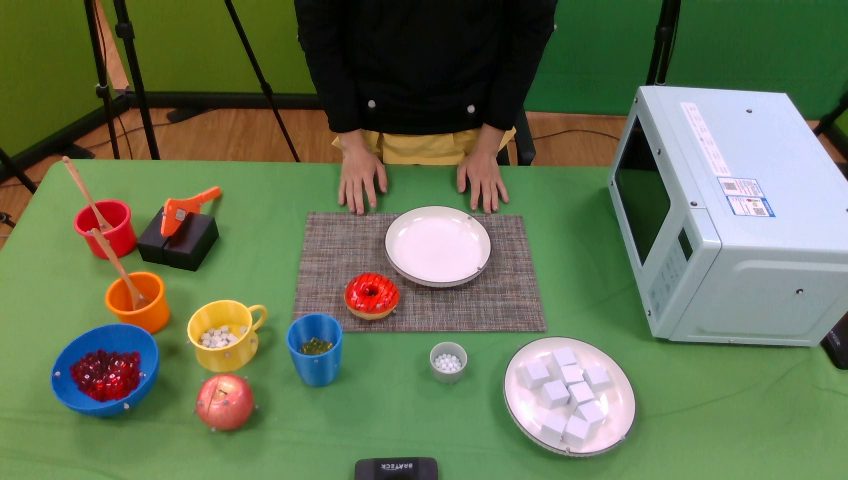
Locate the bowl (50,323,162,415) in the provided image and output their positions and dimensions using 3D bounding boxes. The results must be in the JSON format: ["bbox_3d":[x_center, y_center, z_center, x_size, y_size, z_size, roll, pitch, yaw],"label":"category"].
[{"bbox_3d":[-0.472,0.209,0.924,0.151,0.077,0.150,3,45,-2],"label":"bowl"}]

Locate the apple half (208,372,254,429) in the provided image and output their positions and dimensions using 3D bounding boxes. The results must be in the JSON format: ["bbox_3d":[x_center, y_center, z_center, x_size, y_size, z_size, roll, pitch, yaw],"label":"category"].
[{"bbox_3d":[-0.283,0.244,0.908,0.053,0.075,0.080,7,42,-1],"label":"apple half"}]

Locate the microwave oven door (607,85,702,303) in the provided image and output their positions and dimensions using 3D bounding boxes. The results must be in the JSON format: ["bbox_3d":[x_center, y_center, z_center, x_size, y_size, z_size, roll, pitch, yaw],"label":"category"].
[{"bbox_3d":[0.423,-0.094,1.141,0.039,0.245,0.353,2,46,-1],"label":"microwave oven door"}]

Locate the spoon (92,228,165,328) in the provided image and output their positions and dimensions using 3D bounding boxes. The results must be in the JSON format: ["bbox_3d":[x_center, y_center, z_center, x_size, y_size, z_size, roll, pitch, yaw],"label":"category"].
[{"bbox_3d":[-0.495,0.063,1.014,0.041,0.194,0.021,-34,12,-31],"label":"spoon"}]

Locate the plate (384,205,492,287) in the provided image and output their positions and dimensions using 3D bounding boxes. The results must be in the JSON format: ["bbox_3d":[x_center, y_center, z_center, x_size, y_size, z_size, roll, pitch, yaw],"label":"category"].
[{"bbox_3d":[0.027,0.015,1.169,0.209,0.038,0.208,2,46,-2],"label":"plate"}]

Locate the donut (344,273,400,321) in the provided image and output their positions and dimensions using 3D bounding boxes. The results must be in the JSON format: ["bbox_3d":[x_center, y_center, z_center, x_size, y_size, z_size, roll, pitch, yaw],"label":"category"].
[{"bbox_3d":[-0.092,0.099,1.075,0.099,0.048,0.098,3,44,-2],"label":"donut"}]

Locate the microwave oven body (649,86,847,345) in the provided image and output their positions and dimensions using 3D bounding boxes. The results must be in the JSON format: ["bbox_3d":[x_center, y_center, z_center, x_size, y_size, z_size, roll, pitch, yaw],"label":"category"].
[{"bbox_3d":[0.568,-0.053,1.118,0.326,0.261,0.439,2,45,-1],"label":"microwave oven body"}]

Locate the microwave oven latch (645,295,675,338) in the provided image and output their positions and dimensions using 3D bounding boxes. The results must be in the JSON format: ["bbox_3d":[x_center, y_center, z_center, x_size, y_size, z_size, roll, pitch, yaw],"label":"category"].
[{"bbox_3d":[0.412,0.134,1.061,0.030,0.029,0.078,3,45,0],"label":"microwave oven latch"}]

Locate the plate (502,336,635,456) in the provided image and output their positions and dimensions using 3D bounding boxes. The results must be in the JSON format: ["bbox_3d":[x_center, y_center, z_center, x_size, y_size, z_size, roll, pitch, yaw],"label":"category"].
[{"bbox_3d":[0.225,0.248,0.963,0.208,0.039,0.206,2,46,-2],"label":"plate"}]

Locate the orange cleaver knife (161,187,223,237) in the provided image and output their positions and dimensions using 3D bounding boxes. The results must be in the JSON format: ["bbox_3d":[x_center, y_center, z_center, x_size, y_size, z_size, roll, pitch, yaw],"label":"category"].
[{"bbox_3d":[-0.448,-0.058,1.180,0.012,0.077,0.211,13,17,6],"label":"orange cleaver knife"}]

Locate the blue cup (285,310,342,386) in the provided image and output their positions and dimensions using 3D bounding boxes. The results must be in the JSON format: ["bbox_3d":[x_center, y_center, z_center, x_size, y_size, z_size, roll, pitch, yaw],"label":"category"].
[{"bbox_3d":[-0.170,0.179,0.958,0.093,0.101,0.092,1,44,-1],"label":"blue cup"}]

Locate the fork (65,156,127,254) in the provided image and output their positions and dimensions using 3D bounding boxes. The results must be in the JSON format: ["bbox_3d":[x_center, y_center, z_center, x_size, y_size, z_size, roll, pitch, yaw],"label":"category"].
[{"bbox_3d":[-0.614,-0.064,1.130,0.028,0.018,0.207,-29,96,-15],"label":"fork"}]

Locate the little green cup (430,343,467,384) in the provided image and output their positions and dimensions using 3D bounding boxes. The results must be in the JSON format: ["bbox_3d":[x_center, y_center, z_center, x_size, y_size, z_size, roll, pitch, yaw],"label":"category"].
[{"bbox_3d":[0.039,0.203,0.994,0.061,0.039,0.061,2,46,-2],"label":"little green cup"}]

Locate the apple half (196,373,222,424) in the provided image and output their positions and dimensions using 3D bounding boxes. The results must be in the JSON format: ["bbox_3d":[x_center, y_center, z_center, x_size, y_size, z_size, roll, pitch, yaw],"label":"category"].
[{"bbox_3d":[-0.322,0.239,0.907,0.033,0.081,0.081,7,46,-1],"label":"apple half"}]

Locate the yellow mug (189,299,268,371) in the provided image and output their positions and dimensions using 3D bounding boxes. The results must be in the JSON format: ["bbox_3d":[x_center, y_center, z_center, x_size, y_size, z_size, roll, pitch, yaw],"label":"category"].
[{"bbox_3d":[-0.316,0.148,1.002,0.131,0.064,0.099,-32,56,-32],"label":"yellow mug"}]
